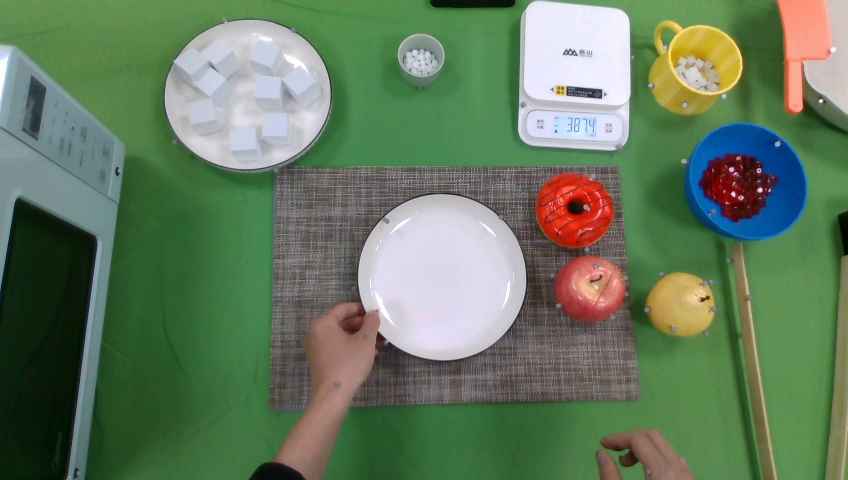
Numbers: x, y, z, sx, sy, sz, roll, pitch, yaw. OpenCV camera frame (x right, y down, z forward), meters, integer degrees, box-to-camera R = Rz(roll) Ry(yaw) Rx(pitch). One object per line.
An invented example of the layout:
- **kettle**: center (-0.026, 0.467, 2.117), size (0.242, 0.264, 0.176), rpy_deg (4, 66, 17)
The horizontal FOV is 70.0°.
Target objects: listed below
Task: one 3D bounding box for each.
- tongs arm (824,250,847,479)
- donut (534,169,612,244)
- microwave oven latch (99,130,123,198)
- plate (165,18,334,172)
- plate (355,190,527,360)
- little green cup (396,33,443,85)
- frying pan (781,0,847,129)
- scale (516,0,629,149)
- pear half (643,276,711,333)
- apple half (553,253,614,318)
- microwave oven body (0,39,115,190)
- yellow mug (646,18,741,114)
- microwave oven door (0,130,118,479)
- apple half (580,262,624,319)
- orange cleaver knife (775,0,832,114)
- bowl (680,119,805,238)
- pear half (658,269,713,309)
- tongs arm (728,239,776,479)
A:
- **tongs arm**: center (0.509, 0.195, 0.753), size (0.028, 0.028, 0.386), rpy_deg (15, 78, -8)
- **donut**: center (0.188, -0.043, 0.769), size (0.099, 0.048, 0.098), rpy_deg (0, 79, -1)
- **microwave oven latch**: center (-0.383, -0.092, 0.730), size (0.030, 0.029, 0.079), rpy_deg (3, 79, -3)
- **plate**: center (-0.220, -0.183, 0.778), size (0.208, 0.039, 0.206), rpy_deg (1, 78, -4)
- **plate**: center (0.021, 0.043, 0.743), size (0.209, 0.038, 0.208), rpy_deg (1, 78, -4)
- **little green cup**: center (-0.007, -0.238, 0.804), size (0.061, 0.039, 0.061), rpy_deg (1, 78, -3)
- **frying pan**: center (0.677, -0.184, 0.803), size (0.307, 0.103, 0.484), rpy_deg (-27, 73, -8)
- **scale**: center (0.201, -0.225, 0.818), size (0.149, 0.031, 0.200), rpy_deg (3, 78, -2)
- **pear half**: center (0.303, 0.081, 0.721), size (0.076, 0.110, 0.056), rpy_deg (30, 78, 7)
- **apple half**: center (0.185, 0.049, 0.735), size (0.053, 0.075, 0.080), rpy_deg (32, 81, 7)
- **microwave oven body**: center (-0.529, 0.055, 0.591), size (0.326, 0.261, 0.439), rpy_deg (2, 79, -4)
- **yellow mug**: center (0.350, -0.242, 0.813), size (0.100, 0.064, 0.130), rpy_deg (-33, 81, -9)
- **microwave oven door**: center (-0.384, 0.100, 0.586), size (0.039, 0.244, 0.354), rpy_deg (1, 78, -3)
- **apple half**: center (0.219, 0.068, 0.732), size (0.032, 0.081, 0.081), rpy_deg (32, 78, 7)
- **orange cleaver knife**: center (0.493, -0.264, 0.790), size (0.077, 0.012, 0.210), rpy_deg (4, 79, 0)
- **bowl**: center (0.390, -0.069, 0.774), size (0.151, 0.077, 0.150), rpy_deg (1, 79, -3)
- **pear half**: center (0.323, 0.055, 0.738), size (0.070, 0.088, 0.031), rpy_deg (29, 78, 6)
- **tongs arm**: center (0.424, 0.188, 0.745), size (0.051, 0.026, 0.383), rpy_deg (0, 79, -8)
